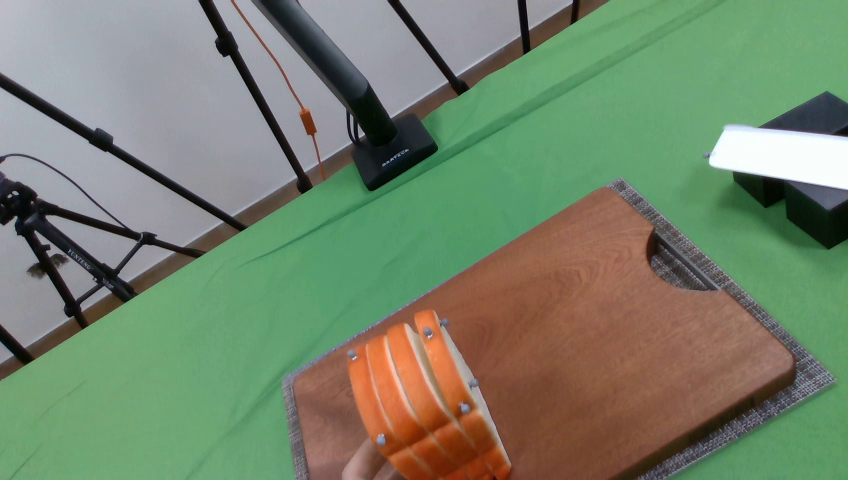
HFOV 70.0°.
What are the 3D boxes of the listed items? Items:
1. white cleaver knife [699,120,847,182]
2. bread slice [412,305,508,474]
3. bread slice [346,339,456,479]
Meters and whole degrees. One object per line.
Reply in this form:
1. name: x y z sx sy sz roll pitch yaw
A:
1. white cleaver knife: 0.366 -0.063 0.482 0.283 0.022 0.066 23 67 43
2. bread slice: 0.028 0.112 0.477 0.019 0.133 0.103 -27 43 0
3. bread slice: -0.019 0.137 0.482 0.018 0.136 0.106 -31 38 5
